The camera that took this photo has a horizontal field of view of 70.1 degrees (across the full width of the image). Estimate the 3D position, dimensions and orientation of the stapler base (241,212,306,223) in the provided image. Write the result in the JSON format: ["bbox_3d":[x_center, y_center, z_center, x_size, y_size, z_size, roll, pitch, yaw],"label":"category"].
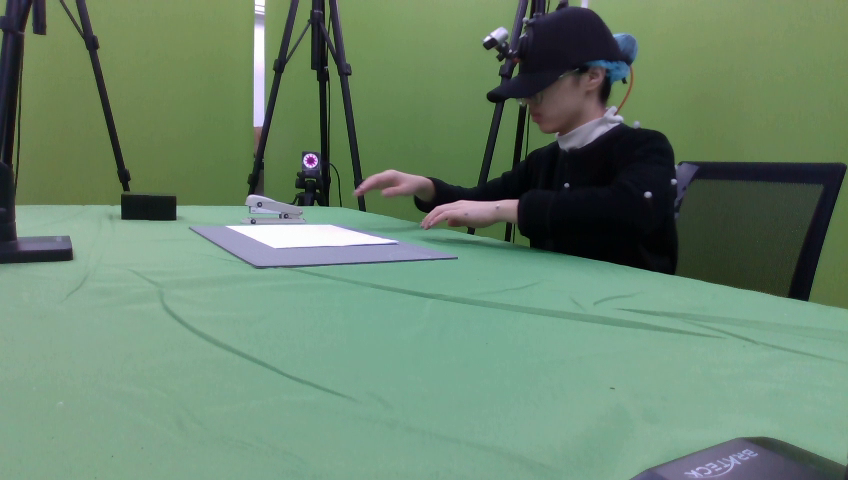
[{"bbox_3d":[-0.316,-0.048,1.272,0.131,0.024,0.041,0,10,-31],"label":"stapler base"}]

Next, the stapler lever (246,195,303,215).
[{"bbox_3d":[-0.313,-0.073,1.270,0.119,0.040,0.026,0,10,-31],"label":"stapler lever"}]
